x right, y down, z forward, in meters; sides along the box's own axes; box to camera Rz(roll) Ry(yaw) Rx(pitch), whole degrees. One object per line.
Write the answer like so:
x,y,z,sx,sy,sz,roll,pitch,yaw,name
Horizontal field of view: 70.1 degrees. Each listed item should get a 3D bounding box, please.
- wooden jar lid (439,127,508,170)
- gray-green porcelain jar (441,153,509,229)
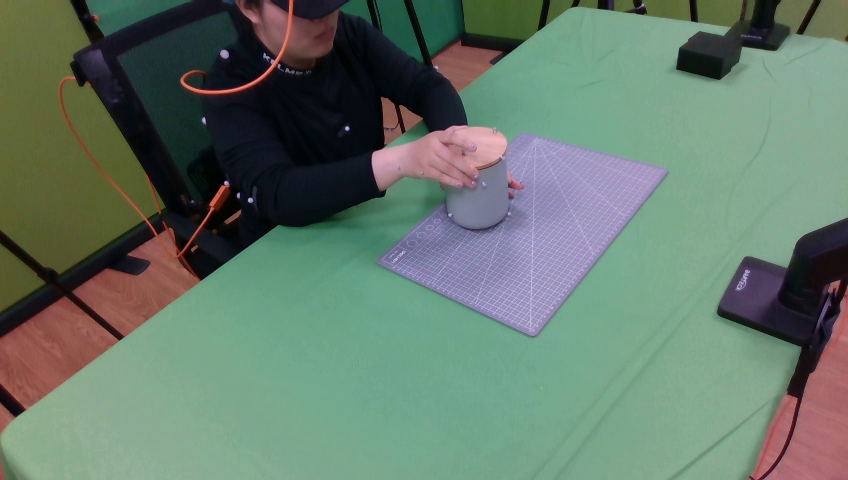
0.078,-0.140,0.946,0.108,0.021,0.108,-5,43,5,wooden jar lid
0.086,-0.089,0.988,0.106,0.127,0.105,-5,40,5,gray-green porcelain jar
